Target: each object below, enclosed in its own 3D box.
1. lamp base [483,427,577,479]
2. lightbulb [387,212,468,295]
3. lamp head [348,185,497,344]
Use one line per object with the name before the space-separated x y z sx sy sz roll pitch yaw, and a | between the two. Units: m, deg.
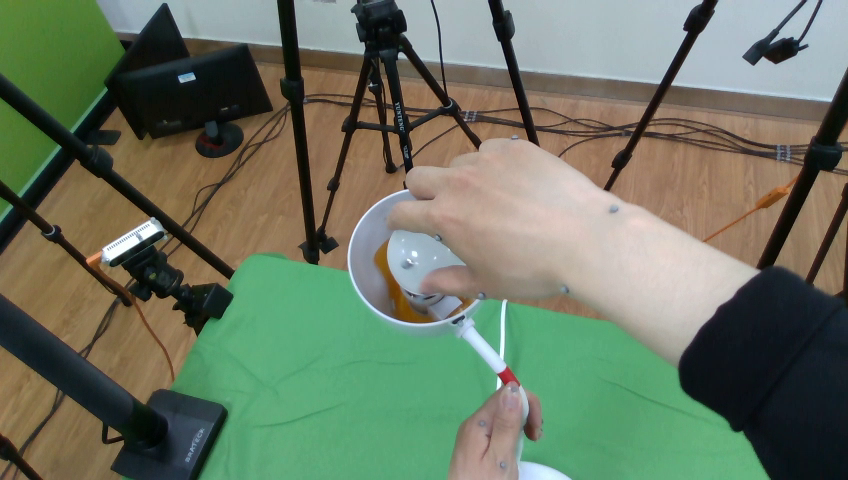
lamp base | 0.113 0.283 0.644 0.161 0.182 0.177 -23 53 -9
lightbulb | 0.001 0.018 0.464 0.059 0.108 0.059 1 68 -3
lamp head | 0.005 0.033 0.493 0.112 0.124 0.111 -3 63 6
